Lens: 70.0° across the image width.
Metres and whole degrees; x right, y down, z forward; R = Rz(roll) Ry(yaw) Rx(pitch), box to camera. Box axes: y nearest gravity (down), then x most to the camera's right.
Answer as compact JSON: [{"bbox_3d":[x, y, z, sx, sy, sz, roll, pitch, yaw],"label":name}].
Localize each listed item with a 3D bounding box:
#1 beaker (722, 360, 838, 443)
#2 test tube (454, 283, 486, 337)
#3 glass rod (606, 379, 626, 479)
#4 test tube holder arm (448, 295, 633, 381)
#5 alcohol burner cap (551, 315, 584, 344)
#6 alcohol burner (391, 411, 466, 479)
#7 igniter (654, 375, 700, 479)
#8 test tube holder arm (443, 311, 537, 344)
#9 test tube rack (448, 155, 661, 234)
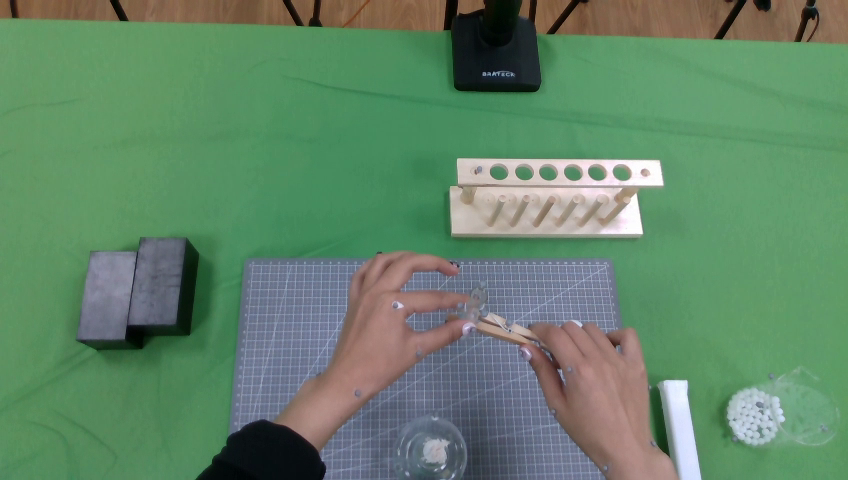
[{"bbox_3d":[0.382,0.180,0.662,0.074,0.101,0.083,13,68,1],"label":"beaker"},{"bbox_3d":[0.040,0.068,0.558,0.017,0.151,0.017,1,69,-2],"label":"test tube"},{"bbox_3d":[0.217,0.254,0.666,0.008,0.008,0.198,0,69,-5],"label":"glass rod"},{"bbox_3d":[0.105,0.089,0.554,0.178,0.015,0.013,21,74,5],"label":"test tube holder arm"},{"bbox_3d":[0.168,0.103,0.701,0.034,0.048,0.033,2,70,-4],"label":"alcohol burner cap"},{"bbox_3d":[0.006,0.209,0.609,0.078,0.120,0.077,1,67,-3],"label":"alcohol burner"},{"bbox_3d":[0.285,0.285,0.653,0.057,0.025,0.274,4,69,-14],"label":"igniter"},{"bbox_3d":[0.061,0.080,0.556,0.088,0.015,0.010,13,73,3],"label":"test tube holder arm"},{"bbox_3d":[0.154,-0.054,0.738,0.243,0.085,0.066,0,69,-5],"label":"test tube rack"}]
